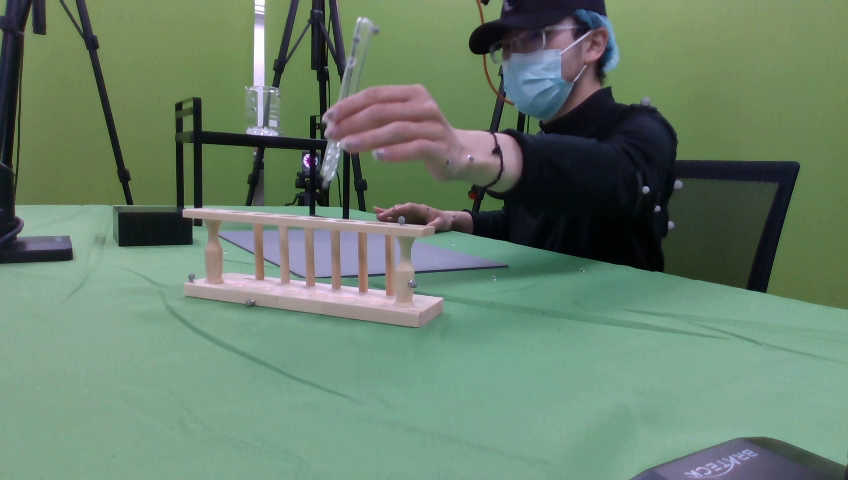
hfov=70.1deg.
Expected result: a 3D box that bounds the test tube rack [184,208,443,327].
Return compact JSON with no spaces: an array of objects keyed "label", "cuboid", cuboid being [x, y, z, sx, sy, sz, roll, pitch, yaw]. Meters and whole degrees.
[{"label":"test tube rack","cuboid":[-0.106,0.019,0.570,0.241,0.085,0.067,5,8,20]}]

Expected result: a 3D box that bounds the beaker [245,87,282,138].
[{"label":"beaker","cuboid":[-0.337,-0.266,1.260,0.074,0.100,0.084,5,8,23]}]

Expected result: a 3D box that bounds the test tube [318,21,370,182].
[{"label":"test tube","cuboid":[-0.076,-0.127,0.563,0.017,0.150,0.017,15,6,-1]}]
